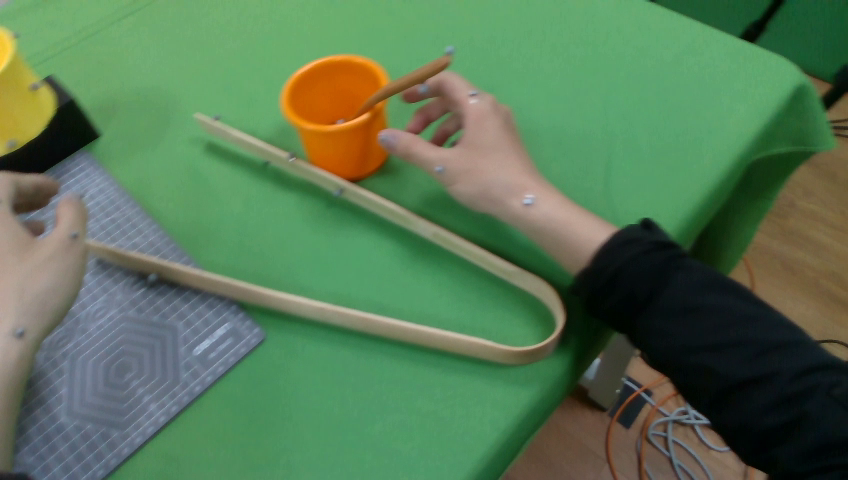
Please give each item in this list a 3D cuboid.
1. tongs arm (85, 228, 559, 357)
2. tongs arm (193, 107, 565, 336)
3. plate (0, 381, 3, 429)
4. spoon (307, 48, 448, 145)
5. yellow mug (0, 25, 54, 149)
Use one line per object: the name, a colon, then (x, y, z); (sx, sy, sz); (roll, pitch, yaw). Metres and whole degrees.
tongs arm: (-0.092, 0.036, 0.467); (0.386, 0.028, 0.028); (12, 55, 12)
tongs arm: (-0.057, -0.027, 0.503); (0.382, 0.027, 0.050); (24, 61, 18)
plate: (-0.388, 0.150, 0.412); (0.207, 0.039, 0.205); (-2, 56, 4)
spoon: (-0.045, -0.114, 0.490); (0.022, 0.193, 0.041); (37, 61, -23)
yellow mug: (-0.398, -0.122, 0.518); (0.099, 0.064, 0.130); (23, 62, 19)
